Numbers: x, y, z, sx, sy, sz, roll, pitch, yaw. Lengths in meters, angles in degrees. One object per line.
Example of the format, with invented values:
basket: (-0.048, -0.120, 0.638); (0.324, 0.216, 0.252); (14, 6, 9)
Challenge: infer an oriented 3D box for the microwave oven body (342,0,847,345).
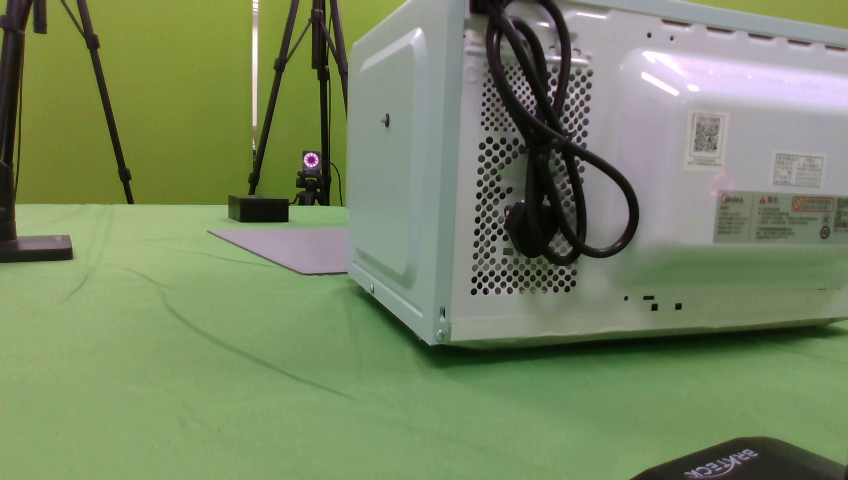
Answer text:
microwave oven body: (0.169, -0.060, 0.573); (0.444, 0.260, 0.324); (1, 7, -20)

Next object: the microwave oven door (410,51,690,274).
microwave oven door: (0.161, -0.084, 0.723); (0.357, 0.243, 0.039); (0, 8, -20)

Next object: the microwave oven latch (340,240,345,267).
microwave oven latch: (-0.052, 0.016, 0.662); (0.079, 0.029, 0.030); (1, 7, -18)
